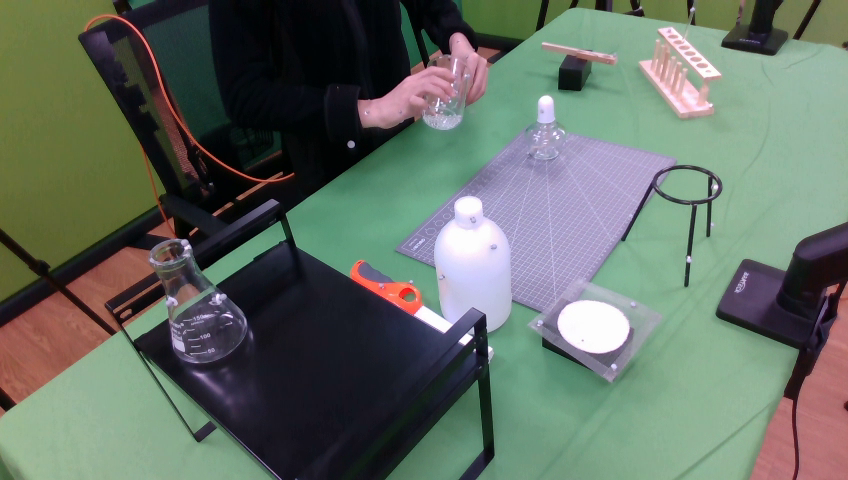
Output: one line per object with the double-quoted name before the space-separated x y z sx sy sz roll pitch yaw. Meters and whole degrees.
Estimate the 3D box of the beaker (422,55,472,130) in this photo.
"beaker" 0.037 -0.239 0.997 0.074 0.084 0.100 3 64 14

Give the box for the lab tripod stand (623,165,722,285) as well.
"lab tripod stand" 0.365 -0.030 0.874 0.148 0.132 0.147 -6 41 6

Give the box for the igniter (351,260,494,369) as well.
"igniter" -0.013 0.098 0.864 0.274 0.025 0.057 30 66 36

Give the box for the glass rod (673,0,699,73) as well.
"glass rod" 0.538 -0.425 1.245 0.008 0.200 0.008 0 47 0

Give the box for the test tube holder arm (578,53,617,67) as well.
"test tube holder arm" 0.376 -0.393 1.314 0.087 0.015 0.010 26 51 32

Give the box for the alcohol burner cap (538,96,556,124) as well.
"alcohol burner cap" 0.222 -0.237 1.095 0.034 0.048 0.033 -7 35 5

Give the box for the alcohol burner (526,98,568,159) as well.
"alcohol burner" 0.228 -0.210 1.118 0.078 0.119 0.077 -5 43 5

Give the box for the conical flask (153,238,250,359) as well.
"conical flask" -0.225 0.055 0.597 0.075 0.122 0.075 -5 41 4

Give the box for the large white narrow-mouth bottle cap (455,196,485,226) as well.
"large white narrow-mouth bottle cap" 0.057 -0.036 0.749 0.038 0.024 0.037 -4 40 4

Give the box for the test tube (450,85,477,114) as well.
"test tube" 0.075 -0.258 1.120 0.017 0.017 0.151 8 -1 18

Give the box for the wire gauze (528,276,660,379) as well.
"wire gauze" 0.213 0.103 0.763 0.124 0.011 0.122 30 52 35

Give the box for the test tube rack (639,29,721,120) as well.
"test tube rack" 0.527 -0.351 1.262 0.067 0.085 0.241 -8 40 1

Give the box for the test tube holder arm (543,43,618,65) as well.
"test tube holder arm" 0.344 -0.413 1.341 0.177 0.015 0.013 25 50 31

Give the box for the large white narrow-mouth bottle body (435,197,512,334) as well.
"large white narrow-mouth bottle body" 0.066 0.028 0.805 0.102 0.195 0.101 -4 40 4
